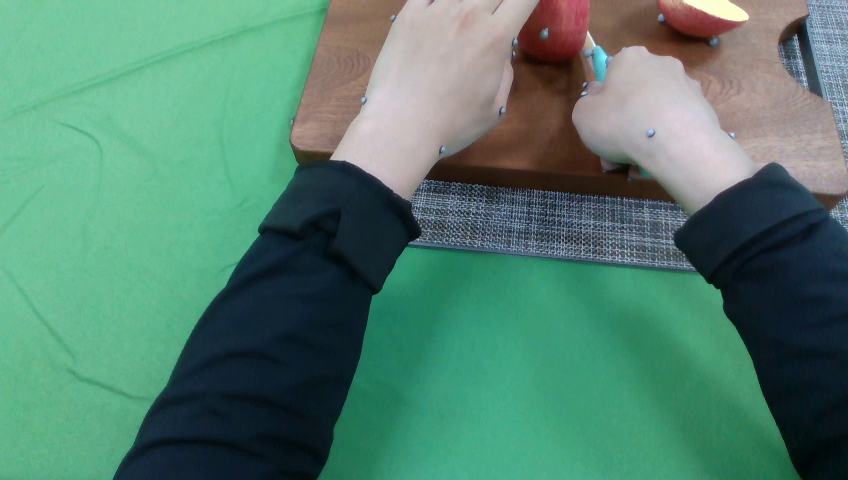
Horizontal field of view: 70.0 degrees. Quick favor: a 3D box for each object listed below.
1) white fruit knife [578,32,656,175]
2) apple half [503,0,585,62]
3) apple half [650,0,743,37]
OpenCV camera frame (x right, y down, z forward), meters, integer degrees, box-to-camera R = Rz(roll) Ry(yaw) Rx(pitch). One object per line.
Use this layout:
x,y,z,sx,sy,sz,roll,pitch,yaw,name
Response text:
0.127,-0.131,0.450,0.016,0.028,0.205,-12,53,0,white fruit knife
0.087,-0.177,0.460,0.053,0.075,0.080,-10,65,3,apple half
0.204,-0.181,0.476,0.081,0.033,0.080,13,45,-13,apple half
